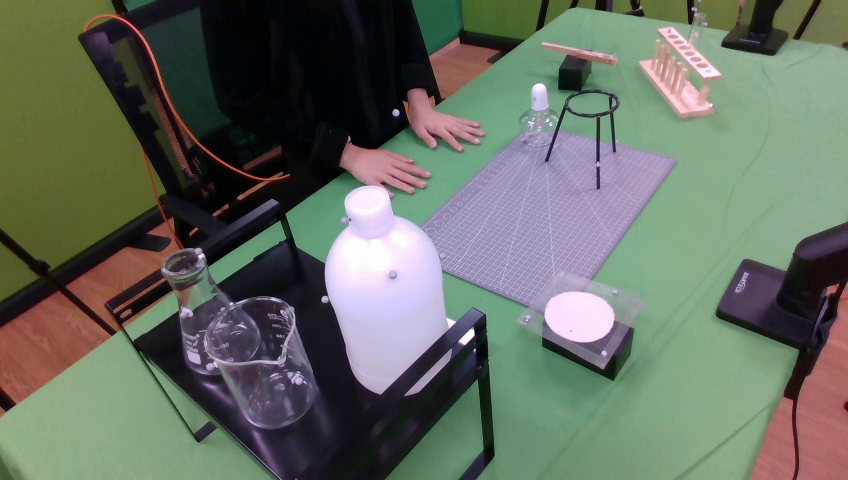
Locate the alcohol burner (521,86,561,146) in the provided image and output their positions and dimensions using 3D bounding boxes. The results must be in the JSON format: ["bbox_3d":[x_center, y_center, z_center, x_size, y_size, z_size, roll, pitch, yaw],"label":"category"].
[{"bbox_3d":[0.223,-0.241,1.155,0.078,0.119,0.077,-5,43,5],"label":"alcohol burner"}]

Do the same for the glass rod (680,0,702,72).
[{"bbox_3d":[0.542,-0.417,1.233,0.008,0.200,0.008,1,40,0],"label":"glass rod"}]

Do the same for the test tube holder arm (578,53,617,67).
[{"bbox_3d":[0.376,-0.393,1.314,0.087,0.015,0.010,26,51,32],"label":"test tube holder arm"}]

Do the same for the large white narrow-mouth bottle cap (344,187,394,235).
[{"bbox_3d":[-0.042,-0.023,0.470,0.038,0.024,0.037,-4,40,4],"label":"large white narrow-mouth bottle cap"}]

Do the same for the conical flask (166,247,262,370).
[{"bbox_3d":[-0.209,0.064,0.585,0.075,0.122,0.075,-5,40,4],"label":"conical flask"}]

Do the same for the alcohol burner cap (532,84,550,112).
[{"bbox_3d":[0.218,-0.269,1.133,0.034,0.048,0.033,-8,36,7],"label":"alcohol burner cap"}]

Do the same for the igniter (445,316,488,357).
[{"bbox_3d":[-0.030,0.095,0.872,0.274,0.025,0.057,23,60,31],"label":"igniter"}]

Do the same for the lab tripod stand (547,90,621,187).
[{"bbox_3d":[0.288,-0.184,1.063,0.148,0.132,0.147,-6,41,6],"label":"lab tripod stand"}]

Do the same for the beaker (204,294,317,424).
[{"bbox_3d":[-0.137,0.110,0.536,0.083,0.101,0.074,30,53,36],"label":"beaker"}]

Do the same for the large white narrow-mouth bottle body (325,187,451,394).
[{"bbox_3d":[-0.033,0.040,0.527,0.102,0.195,0.101,-5,40,4],"label":"large white narrow-mouth bottle body"}]

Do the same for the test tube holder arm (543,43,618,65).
[{"bbox_3d":[0.344,-0.413,1.341,0.177,0.015,0.013,25,50,31],"label":"test tube holder arm"}]

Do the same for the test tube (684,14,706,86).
[{"bbox_3d":[0.540,-0.378,1.215,0.017,0.151,0.017,-2,44,3],"label":"test tube"}]

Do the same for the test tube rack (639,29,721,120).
[{"bbox_3d":[0.527,-0.351,1.262,0.067,0.085,0.241,-8,40,1],"label":"test tube rack"}]

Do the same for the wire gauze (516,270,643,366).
[{"bbox_3d":[0.200,0.093,0.777,0.124,0.011,0.122,23,49,32],"label":"wire gauze"}]
